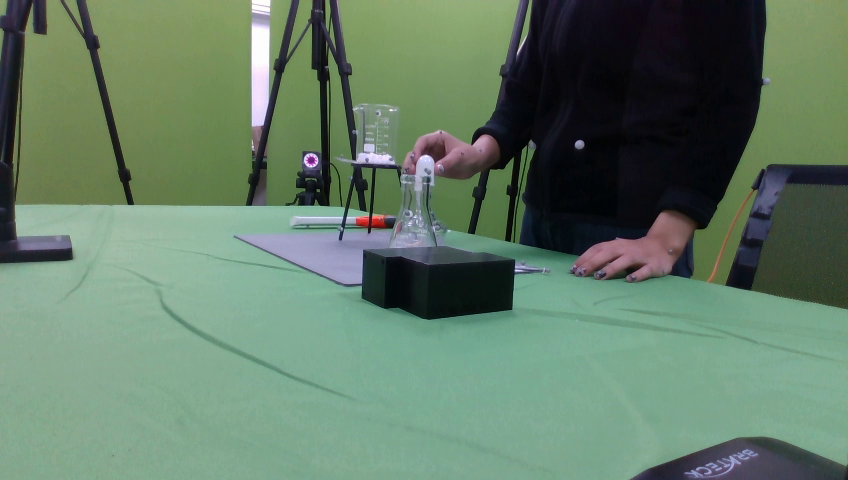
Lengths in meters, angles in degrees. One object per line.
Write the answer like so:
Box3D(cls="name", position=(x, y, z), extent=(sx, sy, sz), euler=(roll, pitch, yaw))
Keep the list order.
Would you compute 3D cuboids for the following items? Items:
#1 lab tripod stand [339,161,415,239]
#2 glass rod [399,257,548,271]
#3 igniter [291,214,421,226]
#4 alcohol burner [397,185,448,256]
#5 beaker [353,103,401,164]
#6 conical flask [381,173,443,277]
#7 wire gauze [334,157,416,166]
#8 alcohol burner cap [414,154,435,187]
Box3D(cls="lab tripod stand", position=(-0.082, -0.070, 1.059), extent=(0.148, 0.131, 0.148), euler=(4, 6, 0))
Box3D(cls="glass rod", position=(0.064, 0.031, 0.806), extent=(0.199, 0.008, 0.008), euler=(4, 7, 10))
Box3D(cls="igniter", position=(-0.135, -0.041, 1.250), extent=(0.278, 0.025, 0.057), euler=(-1, -3, -28))
Box3D(cls="alcohol burner", position=(-0.001, -0.037, 0.903), extent=(0.078, 0.119, 0.078), euler=(4, 9, 0))
Box3D(cls="beaker", position=(-0.084, -0.183, 1.046), extent=(0.084, 0.100, 0.074), euler=(4, 6, 3))
Box3D(cls="conical flask", position=(-0.012, -0.020, 0.731), extent=(0.075, 0.122, 0.075), euler=(2, 7, 0))
Box3D(cls="wire gauze", position=(-0.081, -0.135, 1.051), extent=(0.122, 0.011, 0.124), euler=(2, 5, -30))
Box3D(cls="alcohol burner cap", position=(0.001, -0.103, 0.893), extent=(0.034, 0.048, 0.034), euler=(1, 4, 0))
